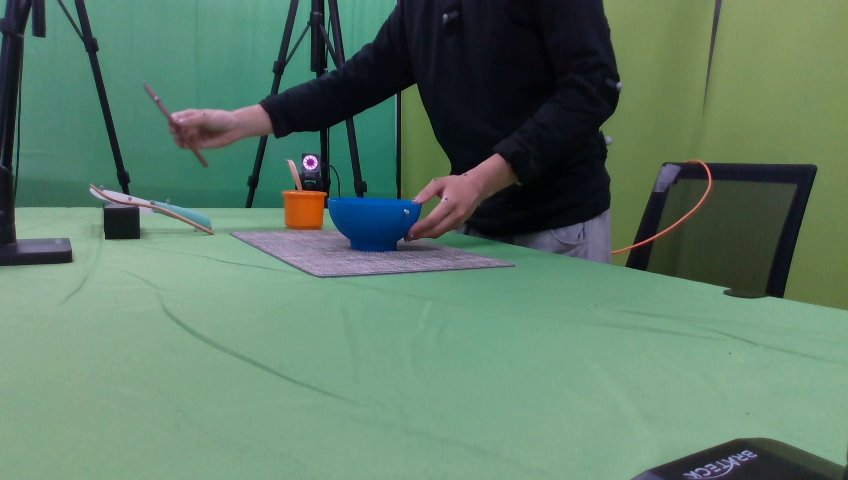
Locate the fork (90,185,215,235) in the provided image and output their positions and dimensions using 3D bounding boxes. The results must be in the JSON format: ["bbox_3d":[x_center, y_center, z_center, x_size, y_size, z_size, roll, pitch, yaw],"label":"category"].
[{"bbox_3d":[-0.452,-0.049,1.018,0.208,0.018,0.028,21,-8,-33],"label":"fork"}]

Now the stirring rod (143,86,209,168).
[{"bbox_3d":[-0.457,-0.207,1.118,0.006,0.176,0.014,-31,19,11],"label":"stirring rod"}]

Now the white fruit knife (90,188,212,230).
[{"bbox_3d":[-0.478,-0.058,1.074,0.208,0.027,0.016,17,-4,-30],"label":"white fruit knife"}]

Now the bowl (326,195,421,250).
[{"bbox_3d":[-0.080,-0.027,0.958,0.151,0.077,0.151,2,7,0],"label":"bowl"}]

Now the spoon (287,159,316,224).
[{"bbox_3d":[-0.261,-0.104,1.263,0.042,0.021,0.193,0,52,-29],"label":"spoon"}]
